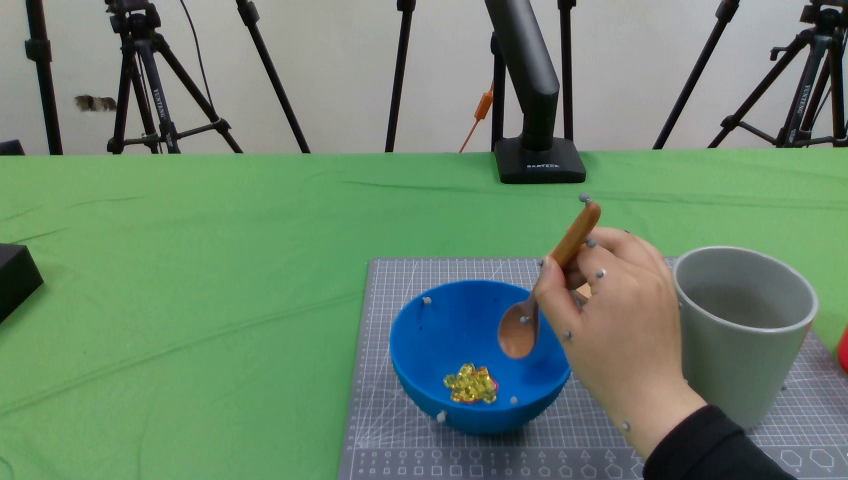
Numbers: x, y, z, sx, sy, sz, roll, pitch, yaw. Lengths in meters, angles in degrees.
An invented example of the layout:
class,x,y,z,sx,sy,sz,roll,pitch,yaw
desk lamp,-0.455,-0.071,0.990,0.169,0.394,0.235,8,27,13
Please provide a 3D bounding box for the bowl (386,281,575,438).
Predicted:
class,x,y,z,sx,sy,sz,roll,pitch,yaw
bowl,0.045,0.111,0.509,0.151,0.077,0.150,0,35,1

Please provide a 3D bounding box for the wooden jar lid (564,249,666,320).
class,x,y,z,sx,sy,sz,roll,pitch,yaw
wooden jar lid,0.204,0.048,0.649,0.108,0.021,0.107,-1,34,1

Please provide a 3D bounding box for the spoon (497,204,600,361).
class,x,y,z,sx,sy,sz,roll,pitch,yaw
spoon,0.084,0.037,0.434,0.022,0.195,0.041,-15,60,-16

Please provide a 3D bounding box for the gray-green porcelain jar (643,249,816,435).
class,x,y,z,sx,sy,sz,roll,pitch,yaw
gray-green porcelain jar,0.241,0.087,0.498,0.106,0.127,0.105,-1,35,1
